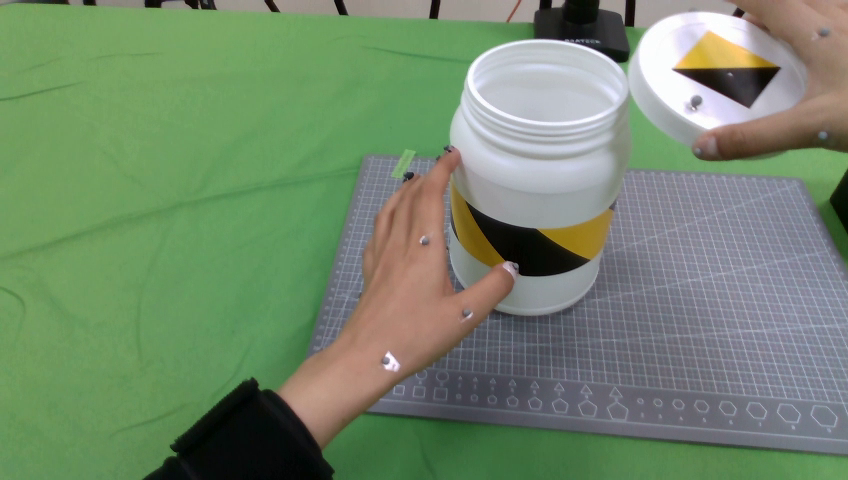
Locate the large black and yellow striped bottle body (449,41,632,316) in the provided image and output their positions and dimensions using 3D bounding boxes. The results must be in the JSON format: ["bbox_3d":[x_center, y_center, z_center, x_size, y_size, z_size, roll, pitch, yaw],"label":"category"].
[{"bbox_3d":[0.085,-0.044,0.472,0.131,0.185,0.129,0,46,1],"label":"large black and yellow striped bottle body"}]

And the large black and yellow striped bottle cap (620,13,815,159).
[{"bbox_3d":[0.181,-0.098,0.376,0.115,0.019,0.114,3,57,-4],"label":"large black and yellow striped bottle cap"}]
